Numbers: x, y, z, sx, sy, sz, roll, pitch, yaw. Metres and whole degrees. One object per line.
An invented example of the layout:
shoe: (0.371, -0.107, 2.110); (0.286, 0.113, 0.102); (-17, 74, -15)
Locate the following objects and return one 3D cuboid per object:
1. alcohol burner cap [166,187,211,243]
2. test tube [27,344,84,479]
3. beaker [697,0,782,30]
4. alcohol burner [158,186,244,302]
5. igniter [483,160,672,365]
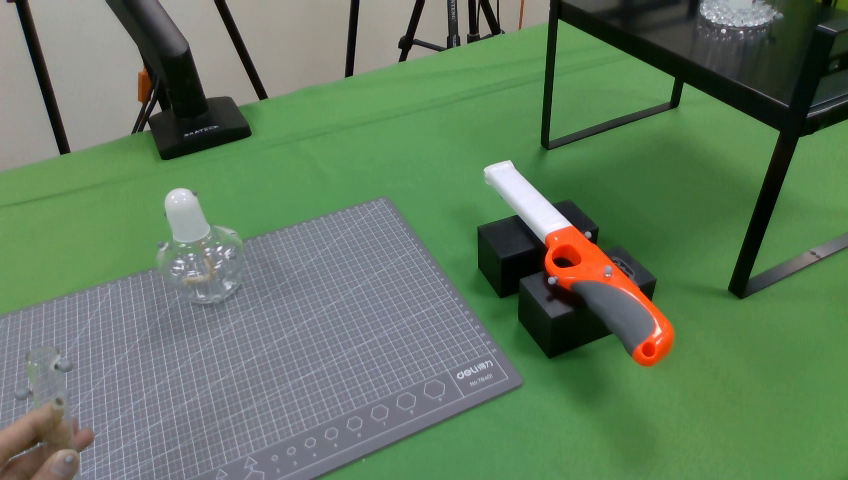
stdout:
alcohol burner cap: (-0.212, -0.025, 0.539); (0.034, 0.048, 0.033); (-1, 38, 1)
test tube: (-0.204, 0.122, 0.343); (0.017, 0.151, 0.017); (7, 27, -3)
beaker: (0.288, -0.248, 0.542); (0.084, 0.101, 0.073); (4, 40, 11)
alcohol burner: (-0.209, 0.000, 0.558); (0.078, 0.120, 0.077); (-1, 40, 1)
igniter: (0.121, 0.004, 0.521); (0.057, 0.025, 0.273); (-18, 40, -11)
